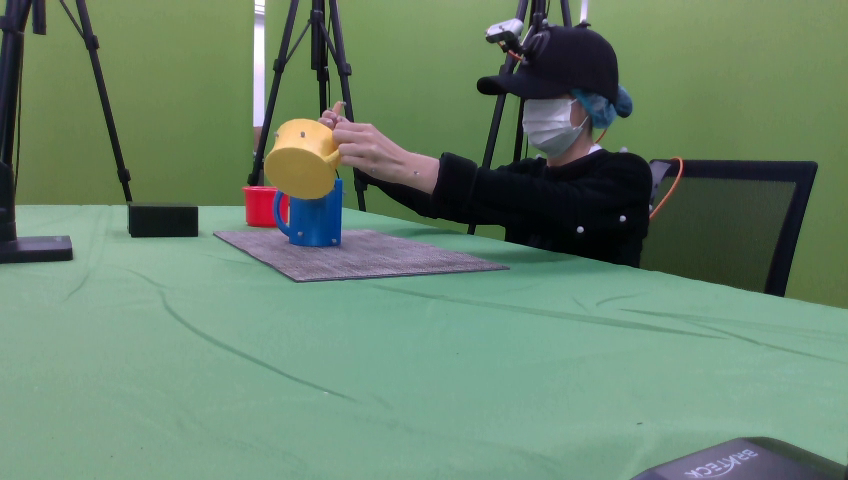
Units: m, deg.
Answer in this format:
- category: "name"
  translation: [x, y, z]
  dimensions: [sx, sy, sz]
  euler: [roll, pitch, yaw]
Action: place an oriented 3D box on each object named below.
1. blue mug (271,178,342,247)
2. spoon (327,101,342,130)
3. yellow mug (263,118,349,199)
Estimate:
- category: "blue mug"
  translation: [-0.190, -0.047, 0.963]
  dimensions: [0.116, 0.106, 0.082]
  euler: [4, 7, 13]
- category: "spoon"
  translation: [-0.160, -0.169, 0.967]
  dimensions: [0.041, 0.022, 0.193]
  euler: [-4, 39, 14]
- category: "yellow mug"
  translation: [-0.160, -0.120, 0.866]
  dimensions: [0.130, 0.064, 0.100]
  euler: [-17, -46, 27]
